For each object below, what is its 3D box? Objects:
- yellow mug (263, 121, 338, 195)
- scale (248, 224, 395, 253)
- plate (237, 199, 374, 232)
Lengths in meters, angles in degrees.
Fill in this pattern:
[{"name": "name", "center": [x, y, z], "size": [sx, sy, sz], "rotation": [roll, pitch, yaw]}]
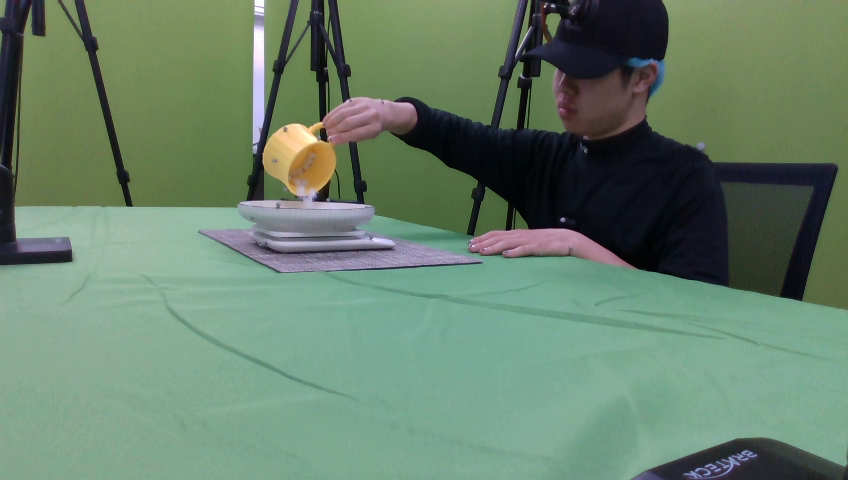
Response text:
[{"name": "yellow mug", "center": [-0.193, -0.143, 0.990], "size": [0.064, 0.131, 0.100], "rotation": [37, -8, 27]}, {"name": "scale", "center": [-0.161, -0.006, 0.954], "size": [0.202, 0.031, 0.148], "rotation": [-2, 8, -32]}, {"name": "plate", "center": [-0.183, -0.039, 0.941], "size": [0.209, 0.038, 0.209], "rotation": [3, 7, 0]}]
